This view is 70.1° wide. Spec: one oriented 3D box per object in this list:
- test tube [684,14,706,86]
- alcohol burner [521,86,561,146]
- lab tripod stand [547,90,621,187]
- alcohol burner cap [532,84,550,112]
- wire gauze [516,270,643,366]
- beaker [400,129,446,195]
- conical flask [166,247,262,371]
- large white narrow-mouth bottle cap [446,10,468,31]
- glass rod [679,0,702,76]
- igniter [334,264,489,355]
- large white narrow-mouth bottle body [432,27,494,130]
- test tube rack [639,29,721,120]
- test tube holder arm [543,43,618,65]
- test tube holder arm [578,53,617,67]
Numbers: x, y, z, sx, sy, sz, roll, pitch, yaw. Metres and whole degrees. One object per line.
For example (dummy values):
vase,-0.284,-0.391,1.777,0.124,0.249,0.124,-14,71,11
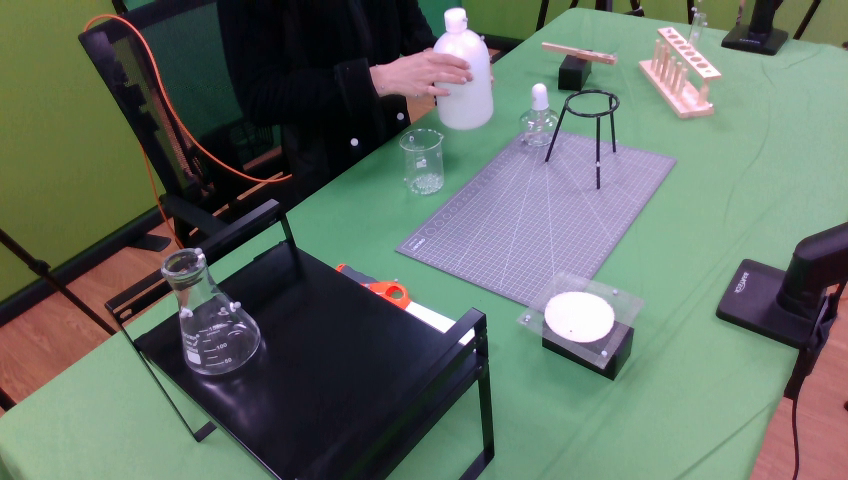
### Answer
test tube,0.540,-0.378,1.215,0.017,0.151,0.017,-2,44,3
alcohol burner,0.223,-0.241,1.155,0.078,0.119,0.077,-5,43,5
lab tripod stand,0.289,-0.184,1.062,0.148,0.132,0.147,-6,41,6
alcohol burner cap,0.218,-0.269,1.133,0.034,0.048,0.033,-8,36,7
wire gauze,0.200,0.093,0.777,0.124,0.011,0.122,23,49,32
beaker,0.004,-0.140,1.087,0.084,0.101,0.073,-20,42,-15
conical flask,-0.208,0.064,0.584,0.075,0.122,0.075,-5,40,4
large white narrow-mouth bottle cap,0.055,-0.365,1.004,0.037,0.024,0.037,-6,41,6
glass rod,0.543,-0.417,1.233,0.008,0.200,0.008,1,40,0
igniter,-0.030,0.095,0.871,0.274,0.025,0.057,22,59,31
large white narrow-mouth bottle body,0.067,-0.299,1.062,0.102,0.195,0.101,-6,41,6
test tube rack,0.527,-0.351,1.262,0.067,0.085,0.241,-8,40,1
test tube holder arm,0.344,-0.413,1.340,0.177,0.015,0.013,25,51,31
test tube holder arm,0.376,-0.393,1.314,0.087,0.015,0.010,26,51,32
